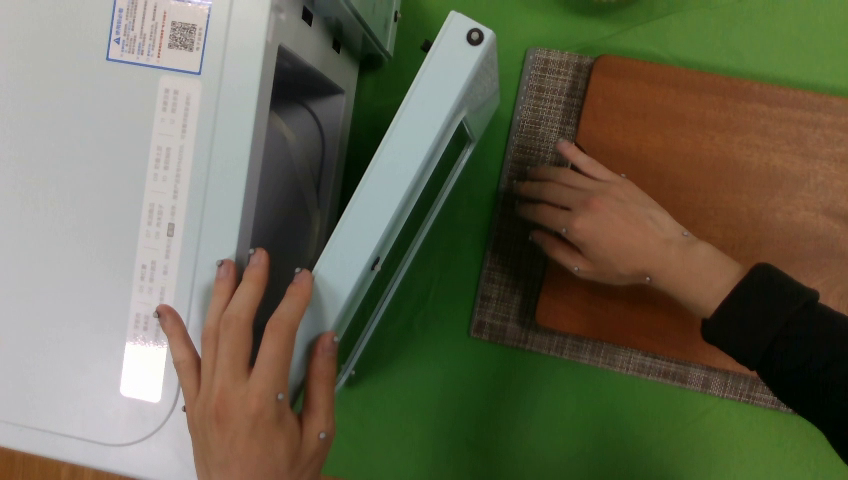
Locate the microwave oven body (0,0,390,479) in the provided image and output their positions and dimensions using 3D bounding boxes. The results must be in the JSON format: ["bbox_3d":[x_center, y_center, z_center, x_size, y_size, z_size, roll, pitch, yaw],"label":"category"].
[{"bbox_3d":[-0.230,-0.072,0.525,0.325,0.260,0.442,10,96,6],"label":"microwave oven body"}]

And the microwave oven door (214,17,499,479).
[{"bbox_3d":[-0.040,0.013,0.504,0.039,0.244,0.356,29,97,6],"label":"microwave oven door"}]

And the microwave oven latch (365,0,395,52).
[{"bbox_3d":[-0.043,-0.227,0.588,0.030,0.029,0.079,11,96,6],"label":"microwave oven latch"}]
